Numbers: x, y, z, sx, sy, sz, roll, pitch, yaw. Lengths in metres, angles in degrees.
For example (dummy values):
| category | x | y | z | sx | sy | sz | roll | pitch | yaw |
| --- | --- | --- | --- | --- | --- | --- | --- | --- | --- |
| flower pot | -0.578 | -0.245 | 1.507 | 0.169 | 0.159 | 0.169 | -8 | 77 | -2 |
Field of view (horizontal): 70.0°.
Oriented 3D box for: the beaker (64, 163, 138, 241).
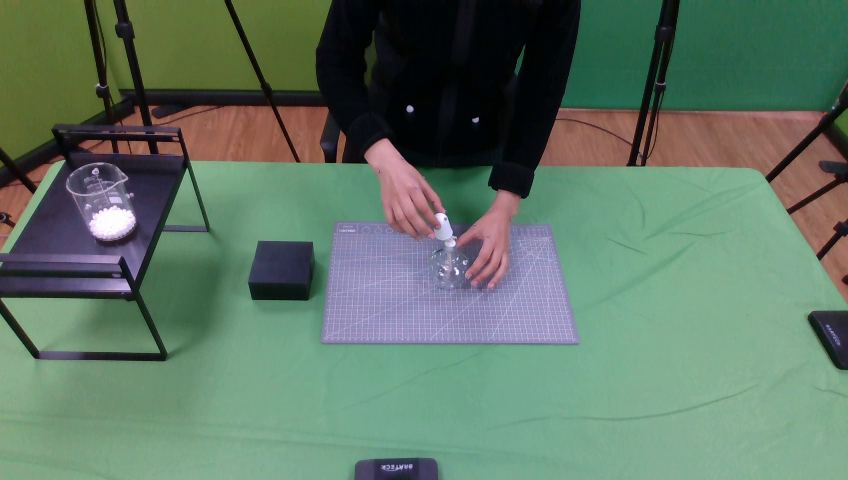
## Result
| category | x | y | z | sx | sy | sz | roll | pitch | yaw |
| --- | --- | --- | --- | --- | --- | --- | --- | --- | --- |
| beaker | -0.477 | -0.055 | 0.910 | 0.084 | 0.101 | 0.073 | -9 | 48 | -13 |

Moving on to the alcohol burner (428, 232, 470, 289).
| category | x | y | z | sx | sy | sz | roll | pitch | yaw |
| --- | --- | --- | --- | --- | --- | --- | --- | --- | --- |
| alcohol burner | 0.045 | 0.032 | 1.099 | 0.078 | 0.120 | 0.077 | 0 | 45 | 0 |

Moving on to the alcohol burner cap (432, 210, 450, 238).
| category | x | y | z | sx | sy | sz | roll | pitch | yaw |
| --- | --- | --- | --- | --- | --- | --- | --- | --- | --- |
| alcohol burner cap | 0.029 | -0.031 | 1.040 | 0.034 | 0.048 | 0.033 | -2 | 46 | 2 |
